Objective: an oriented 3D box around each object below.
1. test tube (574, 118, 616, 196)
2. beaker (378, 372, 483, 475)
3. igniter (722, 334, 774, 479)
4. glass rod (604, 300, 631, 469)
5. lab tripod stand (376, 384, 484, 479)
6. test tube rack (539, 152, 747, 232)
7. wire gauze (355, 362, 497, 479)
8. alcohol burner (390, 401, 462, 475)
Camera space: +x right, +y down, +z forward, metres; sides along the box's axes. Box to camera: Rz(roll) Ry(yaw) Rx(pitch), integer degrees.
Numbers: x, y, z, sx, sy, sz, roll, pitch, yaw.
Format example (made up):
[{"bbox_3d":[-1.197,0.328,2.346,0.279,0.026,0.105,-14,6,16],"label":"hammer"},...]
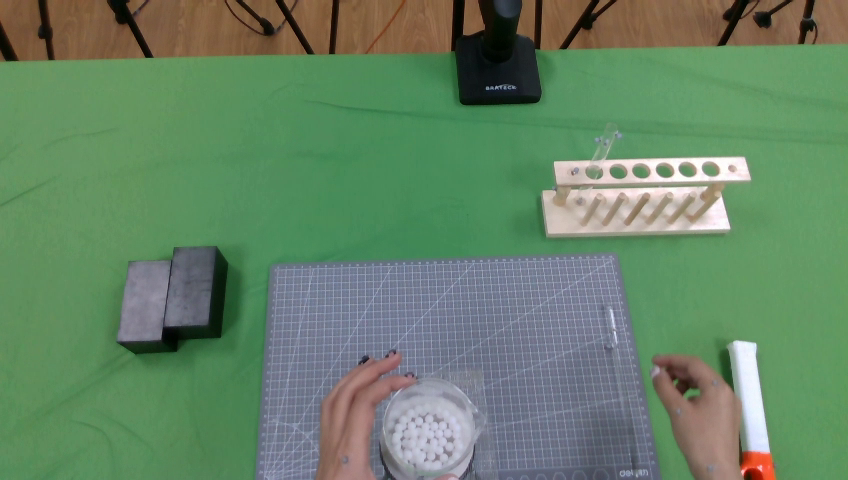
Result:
[{"bbox_3d":[0.207,-0.097,0.744,0.017,0.151,0.017,0,62,0],"label":"test tube"},{"bbox_3d":[0.005,0.161,0.521,0.084,0.101,0.073,-6,65,-5],"label":"beaker"},{"bbox_3d":[0.370,0.242,0.684,0.057,0.025,0.274,9,66,-9],"label":"igniter"},{"bbox_3d":[0.230,0.167,0.719,0.008,0.008,0.198,0,68,-2],"label":"glass rod"},{"bbox_3d":[-0.001,0.208,0.625,0.148,0.132,0.147,0,65,0],"label":"lab tripod stand"},{"bbox_3d":[0.280,-0.061,0.784,0.242,0.086,0.066,-2,65,-2],"label":"test tube rack"},{"bbox_3d":[0.000,0.178,0.566,0.125,0.011,0.120,-5,64,-2],"label":"wire gauze"},{"bbox_3d":[0.003,0.205,0.638,0.078,0.120,0.077,1,64,-2],"label":"alcohol burner"}]
